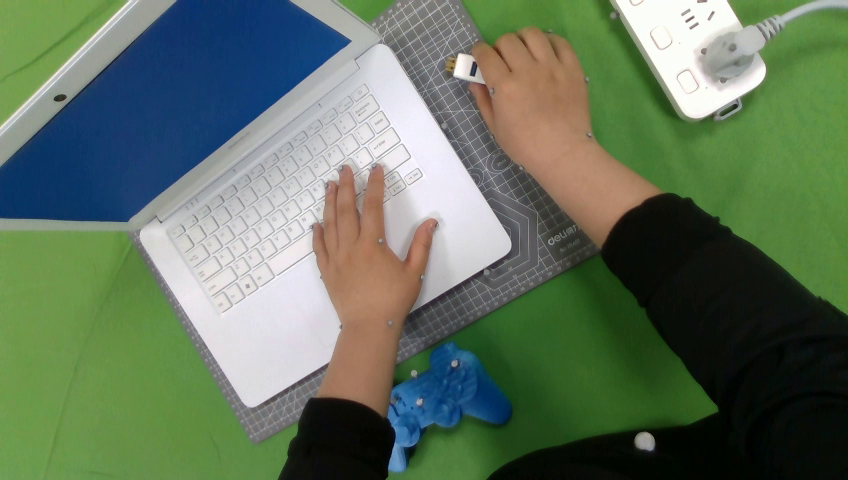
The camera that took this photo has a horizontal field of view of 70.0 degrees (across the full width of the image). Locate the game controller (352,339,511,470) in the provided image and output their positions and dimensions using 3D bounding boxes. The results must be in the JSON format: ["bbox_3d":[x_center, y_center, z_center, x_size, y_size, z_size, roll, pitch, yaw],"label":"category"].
[{"bbox_3d":[-0.001,0.166,0.604,0.155,0.052,0.097,-31,84,17],"label":"game controller"}]

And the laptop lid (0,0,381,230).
[{"bbox_3d":[-0.219,-0.103,0.517,0.356,0.242,0.013,-33,79,19],"label":"laptop lid"}]

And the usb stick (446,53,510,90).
[{"bbox_3d":[0.047,-0.155,0.551,0.059,0.027,0.021,16,97,14],"label":"usb stick"}]

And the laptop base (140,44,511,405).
[{"bbox_3d":[-0.115,-0.003,0.626,0.354,0.023,0.235,-33,91,18],"label":"laptop base"}]

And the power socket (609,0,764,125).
[{"bbox_3d":[0.197,-0.199,0.499,0.072,0.032,0.226,-29,89,19],"label":"power socket"}]

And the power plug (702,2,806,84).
[{"bbox_3d":[0.255,-0.148,0.470,0.072,0.053,0.035,-19,91,14],"label":"power plug"}]
